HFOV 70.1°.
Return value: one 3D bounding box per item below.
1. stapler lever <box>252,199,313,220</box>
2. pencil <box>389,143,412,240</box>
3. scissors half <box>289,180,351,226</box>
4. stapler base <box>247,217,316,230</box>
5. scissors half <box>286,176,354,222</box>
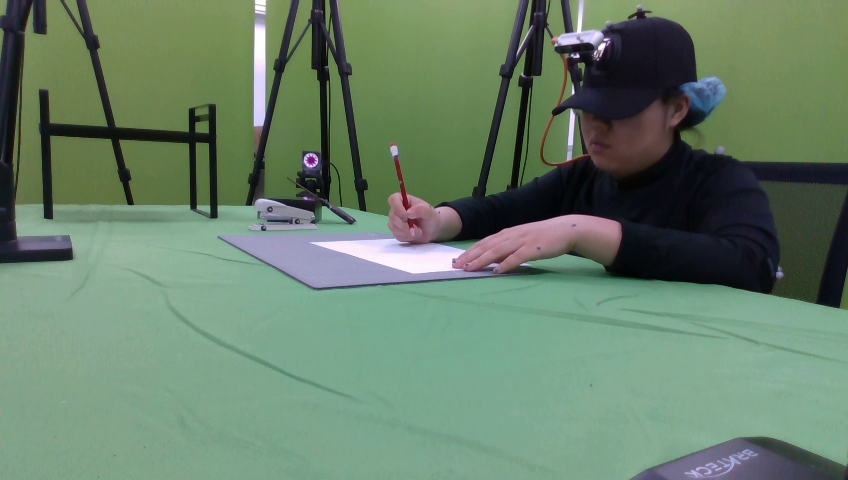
[{"bbox_3d":[-0.273,-0.058,1.170,0.119,0.040,0.026,0,10,-37],"label":"stapler lever"},{"bbox_3d":[-0.037,-0.081,0.985,0.012,0.193,0.012,-10,-29,-5],"label":"pencil"},{"bbox_3d":[-0.232,-0.085,1.317,0.175,0.013,0.040,38,20,4],"label":"scissors half"},{"bbox_3d":[-0.276,-0.033,1.172,0.131,0.024,0.041,0,10,-37],"label":"stapler base"},{"bbox_3d":[-0.229,-0.091,1.336,0.175,0.013,0.040,33,15,-13],"label":"scissors half"}]
